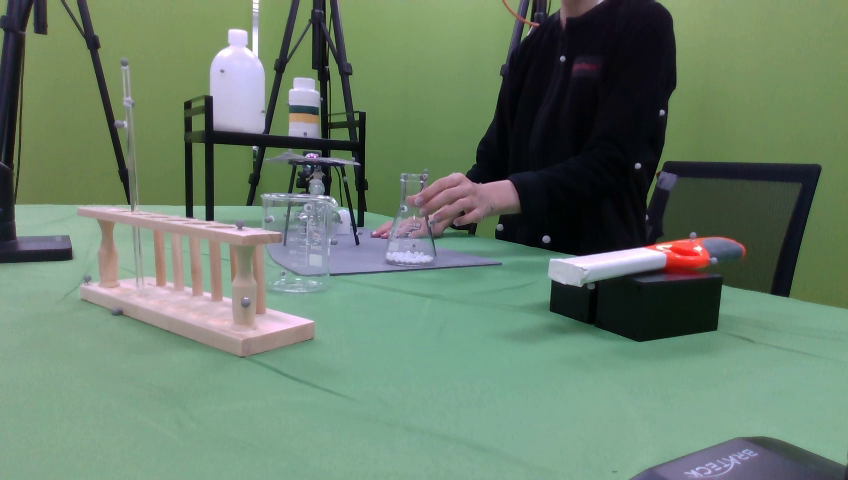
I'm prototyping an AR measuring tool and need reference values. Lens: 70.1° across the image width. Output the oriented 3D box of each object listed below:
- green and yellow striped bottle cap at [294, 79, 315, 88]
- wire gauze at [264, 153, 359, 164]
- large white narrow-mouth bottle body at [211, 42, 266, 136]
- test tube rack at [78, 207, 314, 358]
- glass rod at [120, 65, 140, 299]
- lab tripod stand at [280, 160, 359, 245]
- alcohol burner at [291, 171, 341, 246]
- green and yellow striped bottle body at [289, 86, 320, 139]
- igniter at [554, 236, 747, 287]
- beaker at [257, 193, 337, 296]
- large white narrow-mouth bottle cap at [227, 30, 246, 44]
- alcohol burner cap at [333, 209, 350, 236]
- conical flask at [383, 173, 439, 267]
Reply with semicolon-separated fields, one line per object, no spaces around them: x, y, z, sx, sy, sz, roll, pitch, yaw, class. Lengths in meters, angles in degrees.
-0.248;-0.323;1.256;0.045;0.020;0.045;3;9;0;green and yellow striped bottle cap
-0.181;-0.129;0.969;0.126;0.011;0.121;-1;6;-27;wire gauze
-0.361;-0.302;1.176;0.102;0.194;0.102;1;7;0;large white narrow-mouth bottle body
-0.196;0.024;0.500;0.241;0.085;0.067;8;8;37;test tube rack
-0.249;-0.047;0.513;0.008;0.199;0.008;-1;4;0;glass rod
-0.176;-0.062;0.973;0.148;0.131;0.148;1;7;0;lab tripod stand
-0.172;-0.050;0.962;0.078;0.119;0.078;1;5;0;alcohol burner
-0.250;-0.272;1.261;0.063;0.119;0.063;3;7;0;green and yellow striped bottle body
0.221;0.017;0.558;0.278;0.025;0.057;-5;15;-39;igniter
-0.130;0.004;0.628;0.084;0.100;0.074;5;8;15;beaker
-0.361;-0.389;1.165;0.038;0.024;0.037;1;7;0;large white narrow-mouth bottle cap
-0.151;-0.033;1.116;0.034;0.048;0.034;3;7;0;alcohol burner cap
-0.015;-0.028;0.808;0.075;0.122;0.075;2;7;0;conical flask
